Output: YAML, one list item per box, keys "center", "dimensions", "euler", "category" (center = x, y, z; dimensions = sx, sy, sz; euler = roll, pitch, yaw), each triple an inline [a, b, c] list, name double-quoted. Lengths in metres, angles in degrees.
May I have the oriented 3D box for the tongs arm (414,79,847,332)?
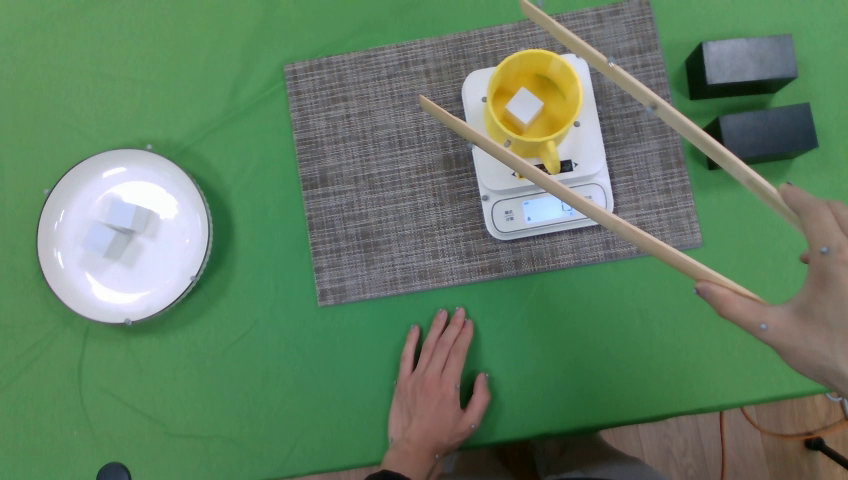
- center: [0.137, -0.040, 0.477]
  dimensions: [0.384, 0.028, 0.028]
  euler: [35, 78, 24]
  category: "tongs arm"

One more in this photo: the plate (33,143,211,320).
- center: [-0.351, -0.009, 0.718]
  dimensions: [0.207, 0.039, 0.207]
  euler: [0, 85, 3]
  category: "plate"

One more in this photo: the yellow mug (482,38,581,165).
- center: [0.119, -0.143, 0.655]
  dimensions: [0.100, 0.064, 0.130]
  euler: [-20, 85, 0]
  category: "yellow mug"

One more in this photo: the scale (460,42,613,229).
- center: [0.129, -0.121, 0.699]
  dimensions: [0.148, 0.031, 0.200]
  euler: [-10, 85, 3]
  category: "scale"

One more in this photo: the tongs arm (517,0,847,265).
- center: [0.187, -0.090, 0.481]
  dimensions: [0.051, 0.027, 0.381]
  euler: [-42, 65, -4]
  category: "tongs arm"
